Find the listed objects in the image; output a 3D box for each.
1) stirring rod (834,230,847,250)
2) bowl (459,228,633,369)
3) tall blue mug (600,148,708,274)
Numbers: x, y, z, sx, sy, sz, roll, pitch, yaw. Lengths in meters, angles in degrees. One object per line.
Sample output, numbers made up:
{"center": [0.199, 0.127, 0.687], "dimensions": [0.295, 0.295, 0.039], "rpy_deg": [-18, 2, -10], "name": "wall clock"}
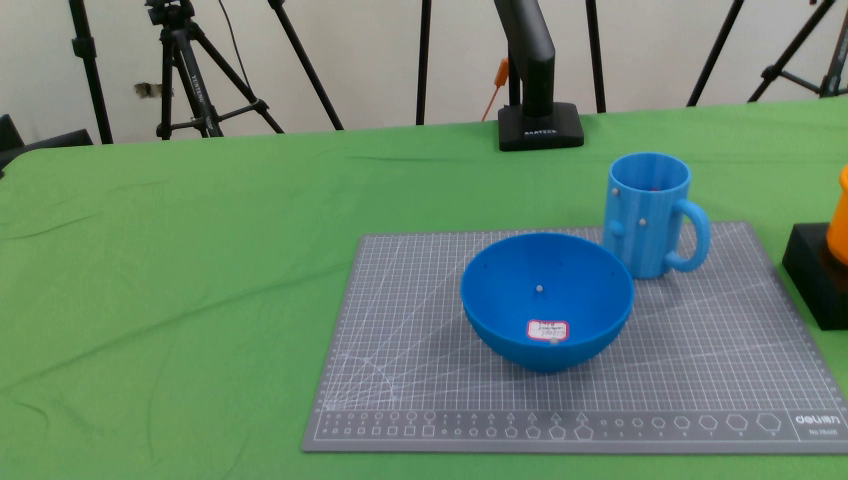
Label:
{"center": [0.434, -0.052, 0.519], "dimensions": [0.176, 0.006, 0.014], "rpy_deg": [-45, 34, 22], "name": "stirring rod"}
{"center": [0.109, 0.064, 0.554], "dimensions": [0.151, 0.077, 0.150], "rpy_deg": [-5, 38, 4], "name": "bowl"}
{"center": [0.238, -0.026, 0.619], "dimensions": [0.106, 0.109, 0.077], "rpy_deg": [15, 43, 26], "name": "tall blue mug"}
